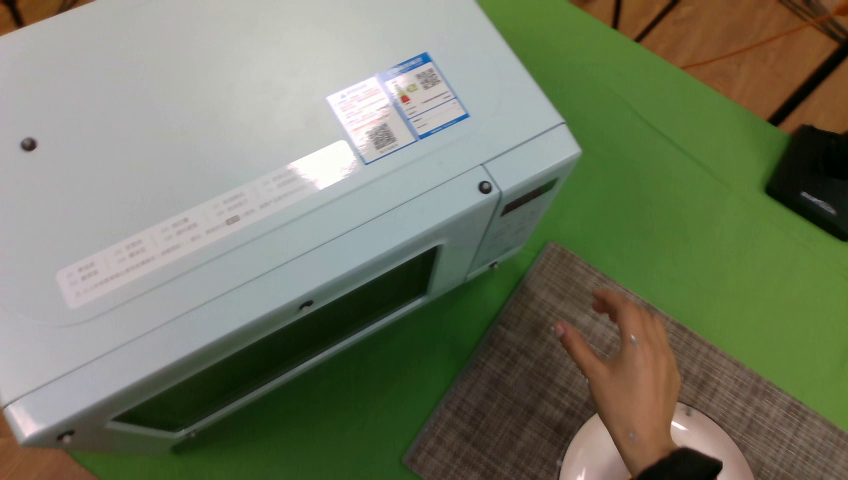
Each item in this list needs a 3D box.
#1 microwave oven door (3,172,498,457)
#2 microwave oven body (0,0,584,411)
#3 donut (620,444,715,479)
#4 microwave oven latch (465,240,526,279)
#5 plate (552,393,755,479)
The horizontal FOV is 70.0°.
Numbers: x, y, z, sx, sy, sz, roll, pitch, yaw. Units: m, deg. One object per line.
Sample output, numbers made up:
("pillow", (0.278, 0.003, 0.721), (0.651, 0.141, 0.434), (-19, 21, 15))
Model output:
("microwave oven door", (-0.110, 0.074, 0.518), (0.356, 0.245, 0.039), (-28, 74, -14))
("microwave oven body", (-0.148, -0.063, 0.571), (0.442, 0.261, 0.324), (-28, 75, -13))
("donut", (0.241, 0.252, 0.595), (0.099, 0.048, 0.098), (2, 73, -5))
("microwave oven latch", (0.073, 0.012, 0.665), (0.079, 0.029, 0.030), (-28, 75, -13))
("plate", (0.227, 0.260, 0.602), (0.209, 0.038, 0.207), (2, 70, -4))
